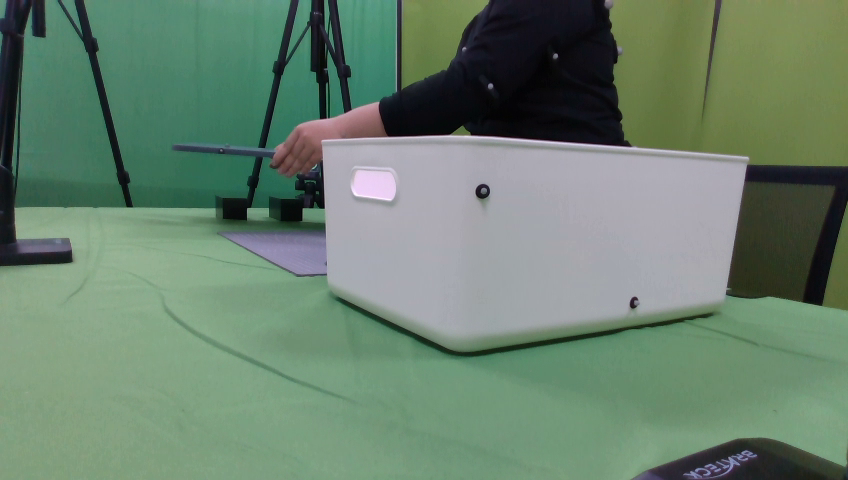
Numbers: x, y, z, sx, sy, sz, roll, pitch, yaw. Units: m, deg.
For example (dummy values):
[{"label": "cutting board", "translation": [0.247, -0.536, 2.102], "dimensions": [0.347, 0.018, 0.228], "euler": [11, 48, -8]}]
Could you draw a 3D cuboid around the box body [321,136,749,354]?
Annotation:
[{"label": "box body", "translation": [0.105, -0.012, 0.603], "dimensions": [0.366, 0.160, 0.253], "euler": [-2, 8, -33]}]

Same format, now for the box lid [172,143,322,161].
[{"label": "box lid", "translation": [-0.303, -0.176, 1.237], "dimensions": [0.373, 0.015, 0.262], "euler": [3, 8, -13]}]

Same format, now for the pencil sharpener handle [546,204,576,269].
[{"label": "pencil sharpener handle", "translation": [0.145, -0.003, 0.619], "dimensions": [0.031, 0.067, 0.036], "euler": [-1, 17, -33]}]

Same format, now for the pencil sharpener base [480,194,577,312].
[{"label": "pencil sharpener base", "translation": [0.103, 0.011, 0.591], "dimensions": [0.077, 0.107, 0.061], "euler": [-1, 7, -33]}]
